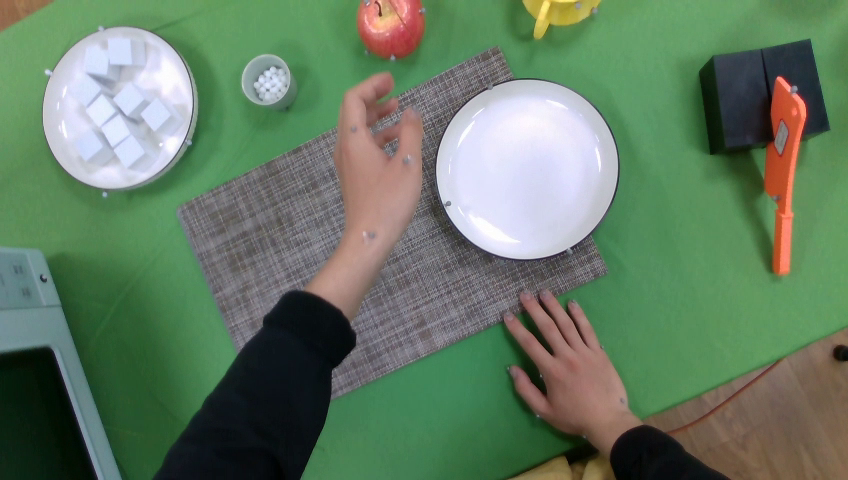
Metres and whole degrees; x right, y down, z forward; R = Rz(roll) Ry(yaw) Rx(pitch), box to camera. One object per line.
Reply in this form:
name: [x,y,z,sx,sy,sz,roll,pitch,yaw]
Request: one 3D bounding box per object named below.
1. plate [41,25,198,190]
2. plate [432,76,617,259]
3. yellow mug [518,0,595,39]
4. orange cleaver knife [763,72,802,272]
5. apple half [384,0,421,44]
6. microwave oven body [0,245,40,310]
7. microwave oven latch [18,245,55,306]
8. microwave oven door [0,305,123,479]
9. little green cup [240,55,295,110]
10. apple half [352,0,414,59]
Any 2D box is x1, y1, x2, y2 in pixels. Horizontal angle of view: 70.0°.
plate: [-0.381,-0.165,0.772,0.207,0.039,0.207,0,88,8]
plate: [0.113,-0.082,0.698,0.209,0.038,0.209,0,88,8]
yellow mug: [0.148,-0.293,0.691,0.100,0.064,0.131,23,92,8]
orange cleaver knife: [0.376,-0.068,0.645,0.012,0.076,0.213,-6,117,11]
apple half: [-0.022,-0.270,0.709,0.033,0.081,0.081,-35,83,10]
microwave oven body: [-0.576,0.262,0.666,0.326,0.261,0.440,-23,85,6]
microwave oven latch: [-0.494,0.046,0.761,0.030,0.029,0.079,-19,86,6]
microwave oven door: [-0.427,0.244,0.642,0.039,0.244,0.355,-23,85,6]
little green cup: [-0.190,-0.191,0.747,0.061,0.039,0.061,0,88,8]
apple half: [-0.054,-0.248,0.714,0.053,0.075,0.080,-34,87,9]
